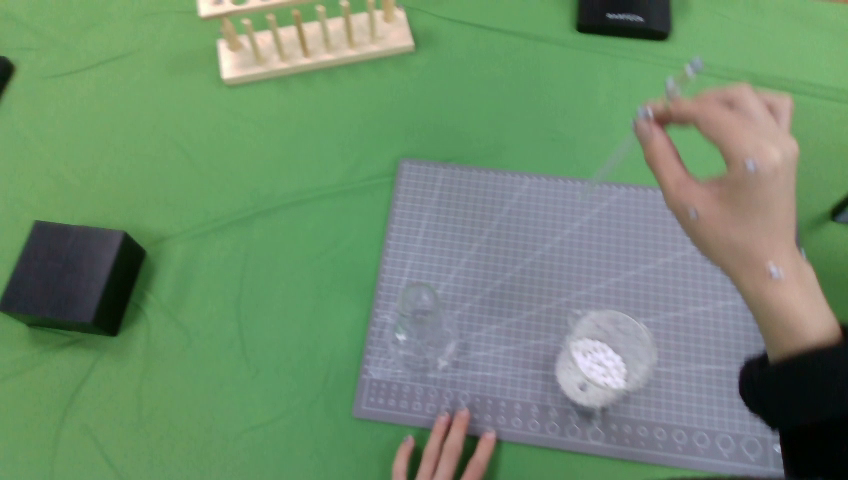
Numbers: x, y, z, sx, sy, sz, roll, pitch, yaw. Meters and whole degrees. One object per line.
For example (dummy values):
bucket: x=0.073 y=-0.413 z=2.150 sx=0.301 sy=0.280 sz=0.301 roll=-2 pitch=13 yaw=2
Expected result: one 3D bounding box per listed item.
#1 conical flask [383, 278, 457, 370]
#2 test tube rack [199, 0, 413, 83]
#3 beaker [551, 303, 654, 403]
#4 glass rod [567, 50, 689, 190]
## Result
conical flask: x=-0.005 y=0.074 z=0.569 sx=0.075 sy=0.123 sz=0.075 roll=0 pitch=65 yaw=1
test tube rack: x=-0.139 y=-0.268 z=0.746 sx=0.242 sy=0.086 sz=0.066 roll=-12 pitch=66 yaw=-4
beaker: x=0.158 y=0.107 z=0.564 sx=0.074 sy=0.101 sz=0.083 roll=-41 pitch=70 yaw=-16
glass rod: x=0.126 y=-0.070 z=0.403 sx=0.008 sy=0.200 sz=0.008 roll=1 pitch=75 yaw=-3
